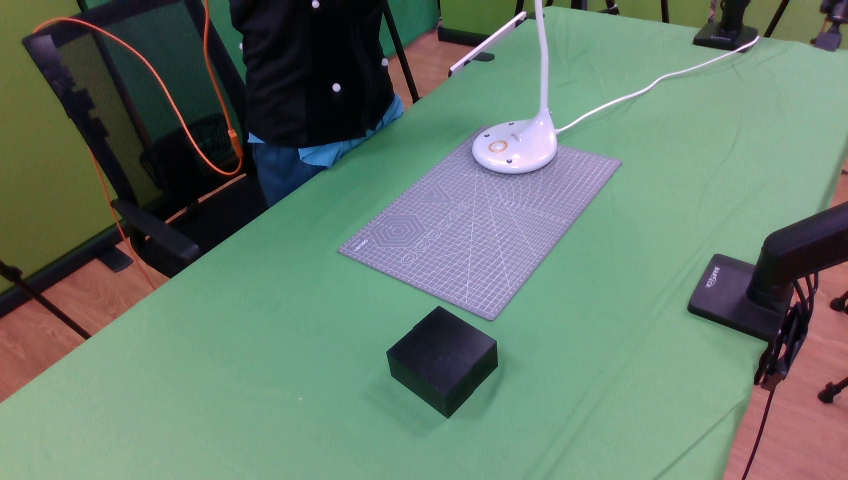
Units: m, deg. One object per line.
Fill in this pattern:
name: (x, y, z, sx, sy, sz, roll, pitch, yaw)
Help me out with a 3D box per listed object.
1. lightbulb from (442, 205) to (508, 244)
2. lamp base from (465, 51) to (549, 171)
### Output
lightbulb: (0.081, -0.019, 0.955, 0.107, 0.059, 0.059, 17, 44, 5)
lamp base: (0.159, -0.243, 1.103, 0.180, 0.181, 0.159, -31, 46, -29)
